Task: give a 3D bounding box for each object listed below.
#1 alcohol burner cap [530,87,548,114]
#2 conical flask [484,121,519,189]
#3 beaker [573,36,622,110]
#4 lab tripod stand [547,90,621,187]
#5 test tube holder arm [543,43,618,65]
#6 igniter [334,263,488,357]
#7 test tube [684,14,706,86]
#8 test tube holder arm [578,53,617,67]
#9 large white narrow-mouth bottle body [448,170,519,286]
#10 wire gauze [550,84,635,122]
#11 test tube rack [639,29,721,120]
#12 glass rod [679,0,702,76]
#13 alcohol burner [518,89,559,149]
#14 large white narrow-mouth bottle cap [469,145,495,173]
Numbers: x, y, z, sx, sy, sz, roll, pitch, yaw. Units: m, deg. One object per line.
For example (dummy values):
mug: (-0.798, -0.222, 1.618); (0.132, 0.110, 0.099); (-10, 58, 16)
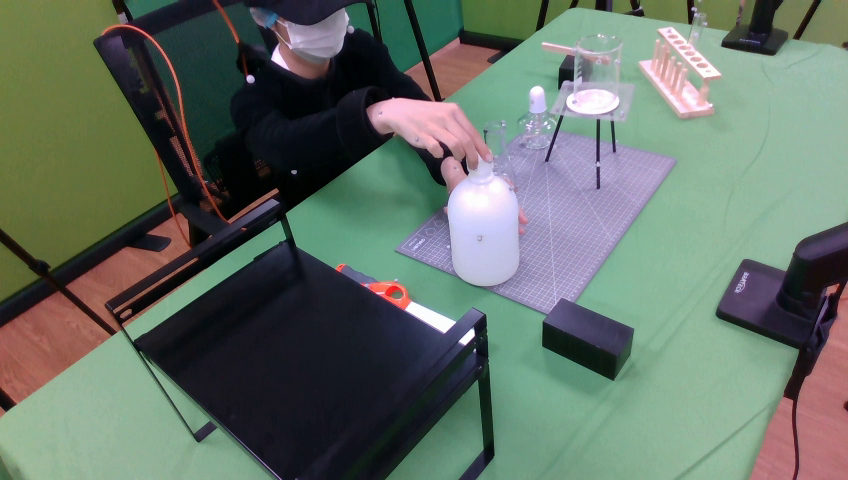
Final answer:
alcohol burner cap: (0.212, -0.262, 1.126); (0.034, 0.048, 0.033); (-8, 36, 7)
conical flask: (0.126, -0.145, 1.051); (0.075, 0.122, 0.075); (-5, 41, 5)
beaker: (0.283, -0.273, 0.990); (0.073, 0.101, 0.084); (16, 46, 28)
lab tripod stand: (0.289, -0.184, 1.062); (0.148, 0.132, 0.147); (-6, 41, 6)
test tube holder arm: (0.345, -0.413, 1.341); (0.177, 0.015, 0.013); (25, 49, 32)
igniter: (-0.030, 0.095, 0.872); (0.274, 0.025, 0.057); (23, 60, 31)
test tube: (0.540, -0.378, 1.215); (0.017, 0.151, 0.017); (-2, 44, 3)
test tube holder arm: (0.376, -0.393, 1.314); (0.087, 0.015, 0.010); (26, 50, 32)
large white narrow-mouth bottle body: (0.086, -0.032, 0.868); (0.102, 0.195, 0.101); (-4, 40, 4)
wire gauze: (0.285, -0.234, 1.021); (0.124, 0.011, 0.121); (8, 41, 23)
test tube rack: (0.527, -0.351, 1.262); (0.067, 0.085, 0.241); (-8, 40, 1)
glass rod: (0.543, -0.417, 1.233); (0.008, 0.200, 0.008); (1, 39, 0)
alcohol burner: (0.218, -0.235, 1.149); (0.078, 0.119, 0.077); (-5, 43, 5)
large white narrow-mouth bottle cap: (0.077, -0.108, 0.804); (0.038, 0.024, 0.037); (-4, 40, 4)
